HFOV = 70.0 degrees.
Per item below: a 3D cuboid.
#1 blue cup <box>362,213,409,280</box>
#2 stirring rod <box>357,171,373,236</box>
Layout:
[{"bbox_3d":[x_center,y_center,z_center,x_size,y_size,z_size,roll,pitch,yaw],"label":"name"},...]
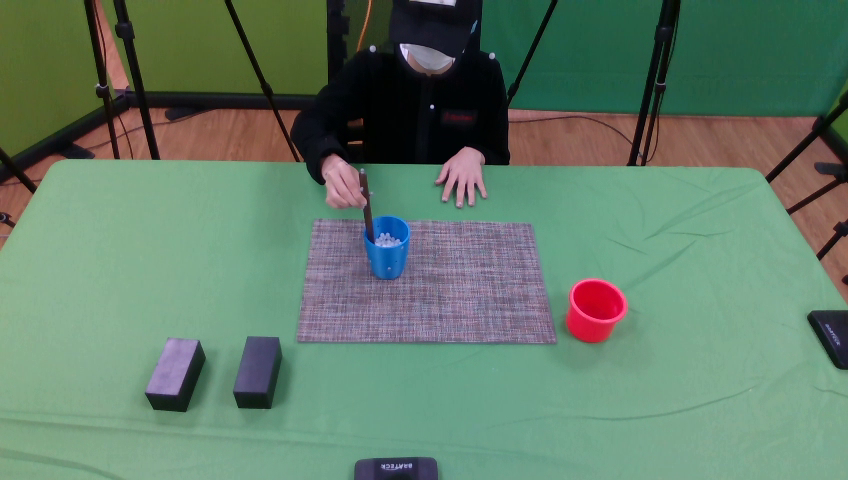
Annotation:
[{"bbox_3d":[-0.069,0.020,1.113,0.093,0.101,0.092,1,46,-1],"label":"blue cup"},{"bbox_3d":[-0.099,-0.048,1.044,0.014,0.177,0.006,12,47,15],"label":"stirring rod"}]
